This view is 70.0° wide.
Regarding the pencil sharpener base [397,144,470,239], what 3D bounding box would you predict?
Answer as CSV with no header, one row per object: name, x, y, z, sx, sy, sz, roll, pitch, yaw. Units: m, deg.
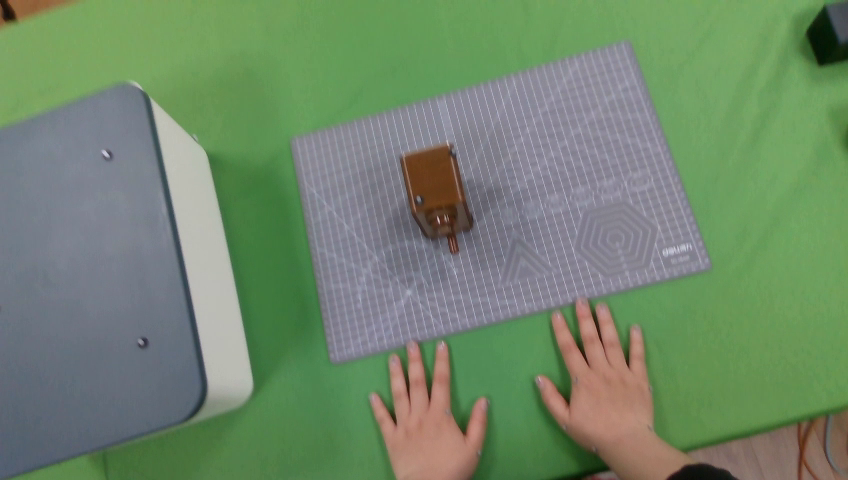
pencil sharpener base,0.014,-0.049,0.692,0.061,0.108,0.076,-14,74,5

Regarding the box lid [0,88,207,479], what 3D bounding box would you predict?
box lid,-0.376,0.033,0.622,0.263,0.015,0.369,-18,75,2

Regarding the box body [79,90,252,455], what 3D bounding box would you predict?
box body,-0.368,0.049,0.699,0.254,0.161,0.361,-18,73,3

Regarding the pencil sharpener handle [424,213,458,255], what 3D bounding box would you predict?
pencil sharpener handle,0.024,-0.005,0.666,0.036,0.068,0.030,-16,73,11
